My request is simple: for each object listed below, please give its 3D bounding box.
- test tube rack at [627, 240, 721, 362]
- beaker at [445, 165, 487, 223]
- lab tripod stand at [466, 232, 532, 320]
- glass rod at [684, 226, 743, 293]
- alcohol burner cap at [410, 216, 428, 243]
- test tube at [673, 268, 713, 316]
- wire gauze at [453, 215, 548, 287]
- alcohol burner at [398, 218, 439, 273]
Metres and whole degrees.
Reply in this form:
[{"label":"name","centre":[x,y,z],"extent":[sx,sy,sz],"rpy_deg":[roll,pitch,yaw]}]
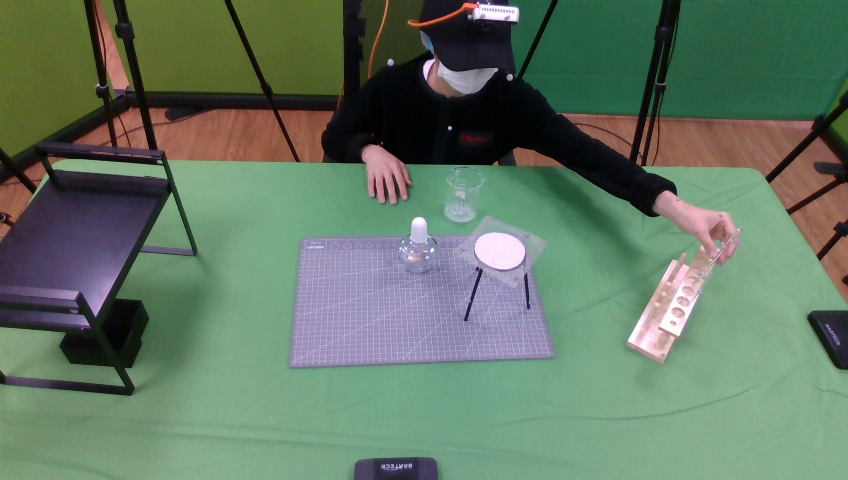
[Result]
[{"label":"test tube rack","centre":[0.452,0.098,1.087],"extent":[0.066,0.085,0.242],"rpy_deg":[28,51,22]},{"label":"beaker","centre":[0.082,-0.091,1.237],"extent":[0.084,0.101,0.073],"rpy_deg":[-7,48,-11]},{"label":"lab tripod stand","centre":[0.125,0.059,1.065],"extent":[0.148,0.132,0.147],"rpy_deg":[1,45,0]},{"label":"glass rod","centre":[0.500,0.039,1.054],"extent":[0.008,0.200,0.008],"rpy_deg":[4,53,-6]},{"label":"alcohol burner cap","centre":[-0.009,-0.022,1.099],"extent":[0.034,0.048,0.033],"rpy_deg":[2,42,-2]},{"label":"test tube","centre":[0.445,0.098,1.017],"extent":[0.017,0.151,0.017],"rpy_deg":[4,49,-4]},{"label":"wire gauze","centre":[0.129,0.012,1.017],"extent":[0.124,0.011,0.121],"rpy_deg":[28,50,23]},{"label":"alcohol burner","centre":[-0.010,0.004,1.124],"extent":[0.078,0.120,0.077],"rpy_deg":[1,47,-1]}]
